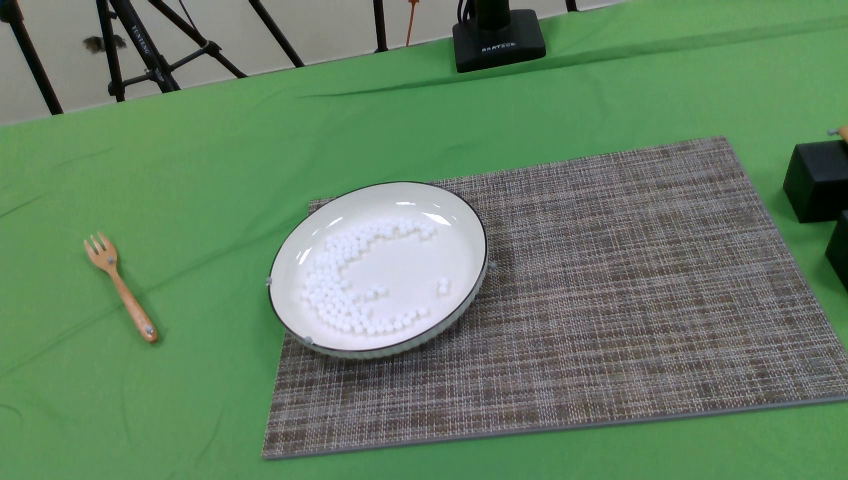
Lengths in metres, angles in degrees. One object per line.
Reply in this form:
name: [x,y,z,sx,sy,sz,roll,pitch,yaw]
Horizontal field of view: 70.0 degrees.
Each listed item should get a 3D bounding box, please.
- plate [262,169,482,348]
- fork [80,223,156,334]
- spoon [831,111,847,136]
plate: [-0.047,0.016,0.571,0.207,0.039,0.205,-7,47,8]
fork: [-0.326,0.038,0.644,0.028,0.019,0.205,-34,47,-22]
spoon: [0.363,-0.047,0.464,0.041,0.022,0.192,-25,42,24]
